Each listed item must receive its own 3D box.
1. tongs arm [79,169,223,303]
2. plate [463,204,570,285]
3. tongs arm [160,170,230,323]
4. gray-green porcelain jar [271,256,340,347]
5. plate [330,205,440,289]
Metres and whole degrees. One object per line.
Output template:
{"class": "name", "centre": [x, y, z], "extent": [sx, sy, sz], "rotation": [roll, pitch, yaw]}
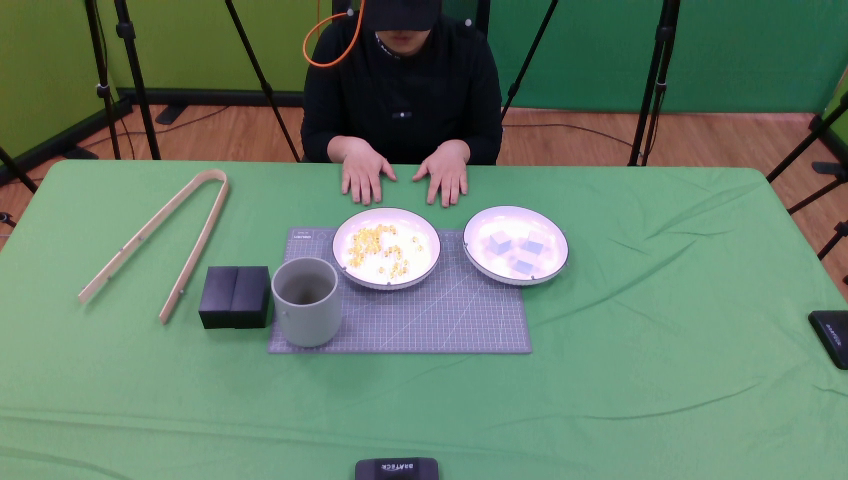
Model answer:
{"class": "tongs arm", "centre": [-0.512, -0.020, 1.170], "extent": [0.050, 0.026, 0.383], "rotation": [15, 46, 9]}
{"class": "plate", "centre": [0.178, 0.011, 1.184], "extent": [0.209, 0.038, 0.208], "rotation": [3, 46, -3]}
{"class": "tongs arm", "centre": [-0.433, -0.001, 1.164], "extent": [0.028, 0.028, 0.385], "rotation": [3, 46, 2]}
{"class": "gray-green porcelain jar", "centre": [-0.193, 0.107, 1.004], "extent": [0.106, 0.127, 0.105], "rotation": [2, 46, -2]}
{"class": "plate", "centre": [-0.074, 0.017, 1.161], "extent": [0.208, 0.039, 0.206], "rotation": [2, 46, -2]}
